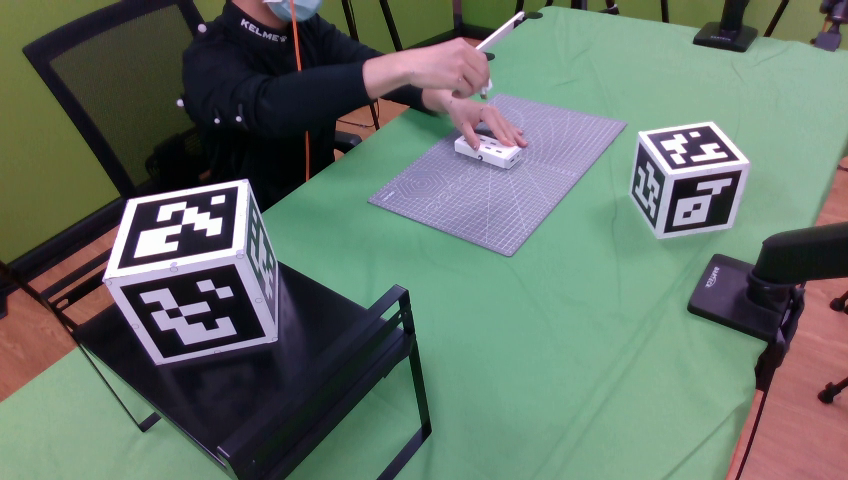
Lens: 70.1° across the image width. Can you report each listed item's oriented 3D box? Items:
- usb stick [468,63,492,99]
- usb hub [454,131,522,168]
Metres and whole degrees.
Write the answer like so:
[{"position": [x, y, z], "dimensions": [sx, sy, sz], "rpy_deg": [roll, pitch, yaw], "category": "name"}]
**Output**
[{"position": [0.097, -0.266, 1.018], "dimensions": [0.021, 0.059, 0.027], "rpy_deg": [13, 52, 41], "category": "usb stick"}, {"position": [0.121, -0.172, 1.146], "dimensions": [0.124, 0.025, 0.049], "rpy_deg": [25, 48, 31], "category": "usb hub"}]
